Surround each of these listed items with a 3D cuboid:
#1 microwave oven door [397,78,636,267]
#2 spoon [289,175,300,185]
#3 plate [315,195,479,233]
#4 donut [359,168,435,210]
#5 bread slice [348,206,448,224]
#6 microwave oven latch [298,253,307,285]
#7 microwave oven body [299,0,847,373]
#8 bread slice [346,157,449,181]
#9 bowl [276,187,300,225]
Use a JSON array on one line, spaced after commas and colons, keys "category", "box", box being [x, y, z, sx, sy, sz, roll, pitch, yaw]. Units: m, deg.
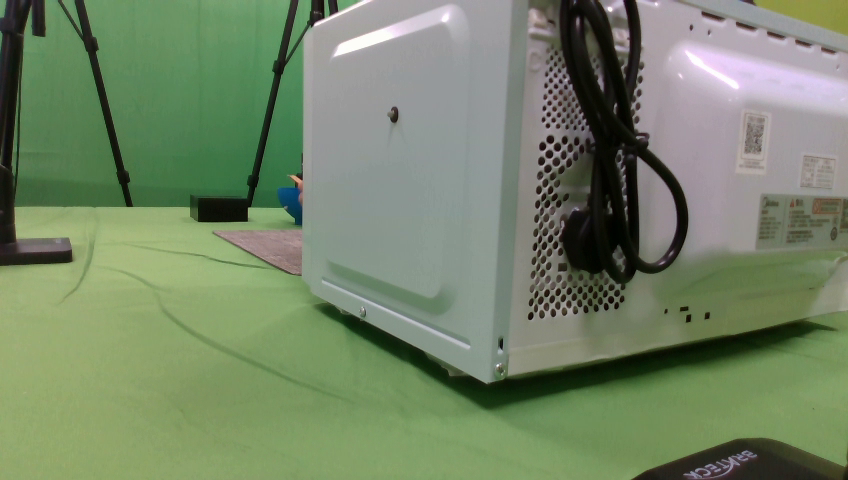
[{"category": "microwave oven door", "box": [0.115, -0.102, 0.872, 0.354, 0.243, 0.039, 7, 9, 34]}, {"category": "spoon", "box": [-0.261, -0.110, 1.343, 0.042, 0.021, 0.192, -8, 34, -30]}, {"category": "plate", "box": [-0.034, -0.033, 0.773, 0.208, 0.039, 0.207, 3, 5, 0]}, {"category": "donut", "box": [-0.034, -0.065, 0.772, 0.099, 0.048, 0.099, -9, -3, 0]}, {"category": "bread slice", "box": [-0.034, -0.033, 0.765, 0.107, 0.018, 0.134, 2, 4, 14]}, {"category": "microwave oven latch", "box": [-0.081, 0.027, 0.582, 0.079, 0.029, 0.030, -1, 7, -32]}, {"category": "microwave oven body", "box": [0.151, -0.055, 0.542, 0.444, 0.260, 0.324, -2, 7, -33]}, {"category": "bread slice", "box": [-0.034, -0.090, 0.762, 0.104, 0.019, 0.132, 10, 9, 17]}, {"category": "bowl", "box": [-0.241, -0.073, 1.302, 0.151, 0.077, 0.151, 2, 7, 0]}]
